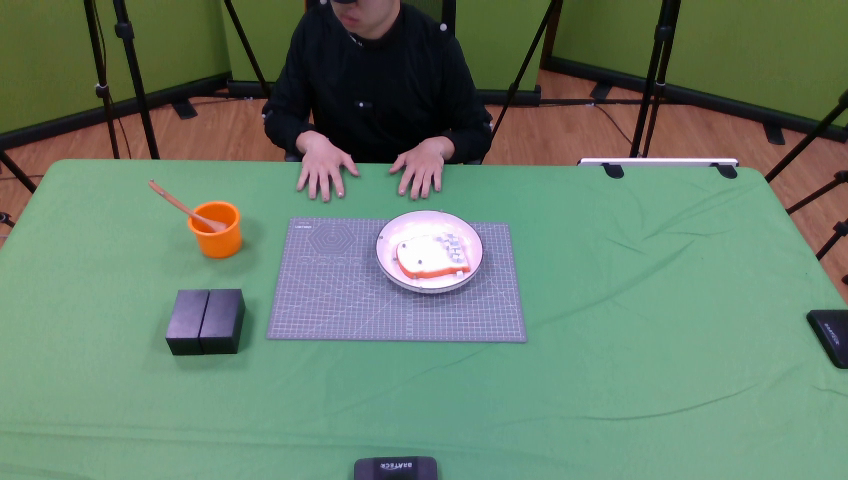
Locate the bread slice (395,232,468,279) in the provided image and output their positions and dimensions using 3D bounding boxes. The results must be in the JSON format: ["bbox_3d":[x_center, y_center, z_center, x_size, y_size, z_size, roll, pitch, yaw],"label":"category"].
[{"bbox_3d":[0.011,0.030,1.158,0.132,0.019,0.104,-8,47,-14],"label":"bread slice"}]

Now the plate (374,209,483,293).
[{"bbox_3d":[0.009,0.024,1.160,0.209,0.038,0.208,2,46,-2],"label":"plate"}]

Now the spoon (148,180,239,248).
[{"bbox_3d":[-0.422,-0.047,1.116,0.195,0.021,0.041,36,42,-26],"label":"spoon"}]
